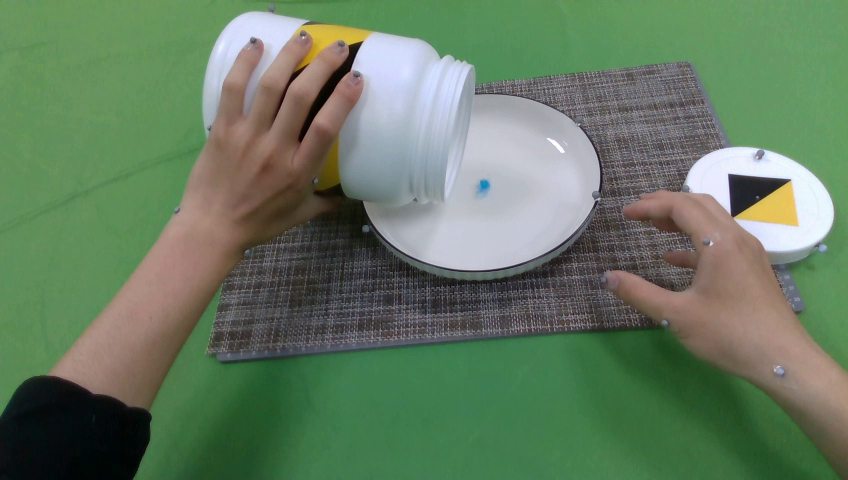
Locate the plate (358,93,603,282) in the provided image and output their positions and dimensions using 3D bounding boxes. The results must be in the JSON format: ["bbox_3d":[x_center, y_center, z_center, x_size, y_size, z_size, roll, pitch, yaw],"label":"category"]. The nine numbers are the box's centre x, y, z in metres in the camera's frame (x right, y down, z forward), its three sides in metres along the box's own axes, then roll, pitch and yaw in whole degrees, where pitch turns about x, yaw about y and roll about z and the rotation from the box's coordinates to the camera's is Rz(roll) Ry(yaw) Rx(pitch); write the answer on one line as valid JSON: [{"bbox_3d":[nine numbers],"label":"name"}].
[{"bbox_3d":[0.048,-0.047,0.529,0.207,0.039,0.205,-4,53,5],"label":"plate"}]

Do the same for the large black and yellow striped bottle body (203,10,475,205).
[{"bbox_3d":[-0.060,-0.100,0.479,0.183,0.132,0.130,13,56,7],"label":"large black and yellow striped bottle body"}]

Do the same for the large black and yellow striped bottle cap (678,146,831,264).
[{"bbox_3d":[0.271,-0.032,0.499,0.115,0.019,0.114,-1,54,2],"label":"large black and yellow striped bottle cap"}]
